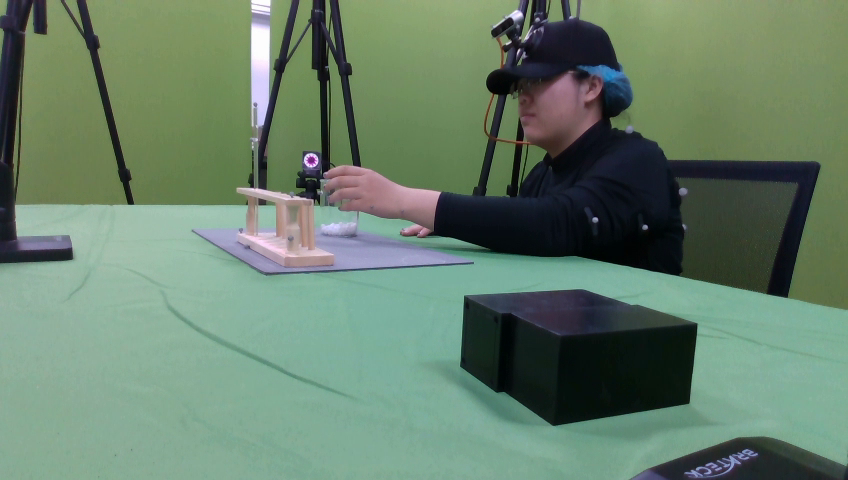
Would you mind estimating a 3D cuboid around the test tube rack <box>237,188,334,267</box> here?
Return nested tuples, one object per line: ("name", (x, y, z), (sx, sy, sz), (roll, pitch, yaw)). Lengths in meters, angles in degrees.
("test tube rack", (-0.202, -0.024, 0.855), (0.067, 0.085, 0.241), (-1, 8, -30))

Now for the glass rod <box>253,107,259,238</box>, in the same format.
("glass rod", (-0.254, -0.101, 0.912), (0.008, 0.199, 0.008), (1, 4, 0))

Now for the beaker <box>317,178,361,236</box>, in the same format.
("beaker", (-0.150, -0.059, 1.087), (0.083, 0.100, 0.074), (9, 10, 40))
